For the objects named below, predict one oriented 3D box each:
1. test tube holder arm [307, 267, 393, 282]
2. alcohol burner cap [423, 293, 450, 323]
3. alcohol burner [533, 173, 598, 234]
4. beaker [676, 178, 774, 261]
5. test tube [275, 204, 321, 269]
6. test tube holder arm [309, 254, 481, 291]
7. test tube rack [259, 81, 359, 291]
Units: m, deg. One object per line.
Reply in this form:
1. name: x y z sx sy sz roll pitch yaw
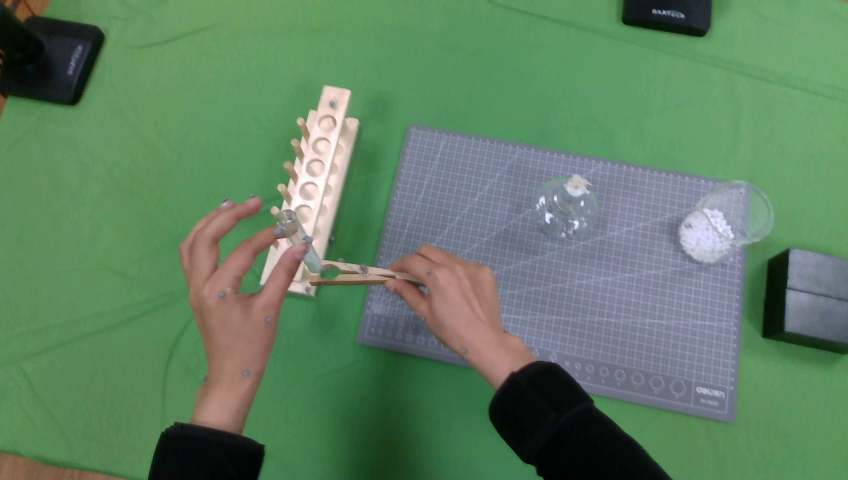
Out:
1. test tube holder arm: -0.076 0.035 0.622 0.088 0.015 0.010 -3 71 3
2. alcohol burner cap: 0.016 0.079 0.717 0.034 0.048 0.033 1 73 -2
3. alcohol burner: 0.170 -0.049 0.716 0.078 0.120 0.077 -1 74 3
4. beaker: 0.345 -0.020 0.714 0.084 0.101 0.073 10 73 5
5. test tube: -0.109 0.001 0.537 0.017 0.151 0.017 0 73 -1
6. test tube holder arm: -0.031 0.033 0.620 0.178 0.015 0.013 7 72 7
7. test tube rack: -0.145 -0.068 0.741 0.067 0.085 0.241 12 74 4
